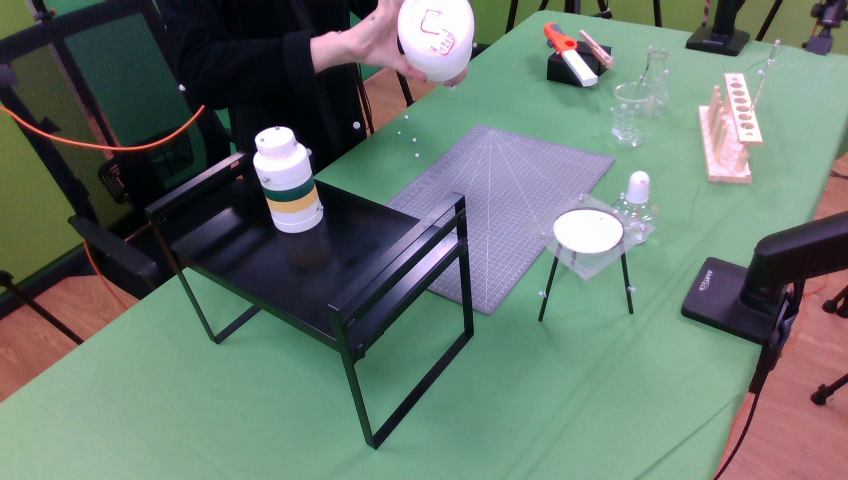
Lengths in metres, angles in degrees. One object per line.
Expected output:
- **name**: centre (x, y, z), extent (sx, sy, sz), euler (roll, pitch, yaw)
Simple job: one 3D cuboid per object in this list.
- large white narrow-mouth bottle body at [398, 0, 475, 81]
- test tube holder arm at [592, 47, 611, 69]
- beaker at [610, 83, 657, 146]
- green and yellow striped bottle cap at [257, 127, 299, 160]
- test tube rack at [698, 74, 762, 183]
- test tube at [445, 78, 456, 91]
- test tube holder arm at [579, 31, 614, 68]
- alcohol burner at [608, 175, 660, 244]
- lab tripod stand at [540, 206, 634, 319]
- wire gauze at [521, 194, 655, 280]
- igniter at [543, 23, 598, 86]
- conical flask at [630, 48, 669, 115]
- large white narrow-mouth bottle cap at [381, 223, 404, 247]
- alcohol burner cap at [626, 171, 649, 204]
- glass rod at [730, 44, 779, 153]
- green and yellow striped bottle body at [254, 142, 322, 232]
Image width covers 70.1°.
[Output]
- **large white narrow-mouth bottle body**: centre (0.020, -0.281, 0.859), extent (0.102, 0.101, 0.194), euler (-5, 3, 3)
- **test tube holder arm**: centre (0.386, -0.398, 1.317), extent (0.010, 0.015, 0.087), euler (-10, 41, -3)
- **beaker**: centre (0.388, -0.235, 1.137), extent (0.074, 0.101, 0.083), euler (-31, 45, -26)
- **green and yellow striped bottle cap**: centre (-0.169, -0.112, 0.698), extent (0.045, 0.020, 0.045), euler (-5, 40, 5)
- **test tube rack**: centre (0.547, -0.208, 1.095), extent (0.066, 0.085, 0.242), euler (5, 42, 15)
- **test tube**: centre (0.040, -0.279, 1.028), extent (0.017, 0.017, 0.150), euler (0, 0, 8)
- **test tube holder arm**: centre (0.384, -0.428, 1.351), extent (0.013, 0.015, 0.177), euler (-11, 41, -4)
- **alcohol burner**: centre (0.322, -0.053, 0.924), extent (0.078, 0.119, 0.077), euler (-4, 43, 4)
- **lab tripod stand**: centre (0.217, 0.034, 0.821), extent (0.148, 0.132, 0.147), euler (-4, 42, 4)
- **wire gauze**: centre (0.207, -0.012, 0.772), extent (0.122, 0.011, 0.124), euler (-28, 44, -20)
- **igniter**: centre (0.320, -0.419, 1.345), extent (0.057, 0.025, 0.274), euler (-12, 44, -3)
- **conical flask**: centre (0.457, -0.317, 1.205), extent (0.075, 0.122, 0.075), euler (-4, 41, 4)
- **large white narrow-mouth bottle cap**: centre (-0.052, -0.009, 0.992), extent (0.038, 0.024, 0.037), euler (-5, 39, 4)
- **alcohol burner cap**: centre (0.320, -0.081, 0.900), extent (0.034, 0.048, 0.033), euler (-4, 42, 4)
- **glass rod**: centre (0.555, -0.234, 1.020), extent (0.008, 0.200, 0.008), euler (2, 40, -1)
- **green and yellow striped bottle body**: centre (-0.165, -0.073, 0.732), extent (0.063, 0.120, 0.063), euler (-4, 41, 4)
